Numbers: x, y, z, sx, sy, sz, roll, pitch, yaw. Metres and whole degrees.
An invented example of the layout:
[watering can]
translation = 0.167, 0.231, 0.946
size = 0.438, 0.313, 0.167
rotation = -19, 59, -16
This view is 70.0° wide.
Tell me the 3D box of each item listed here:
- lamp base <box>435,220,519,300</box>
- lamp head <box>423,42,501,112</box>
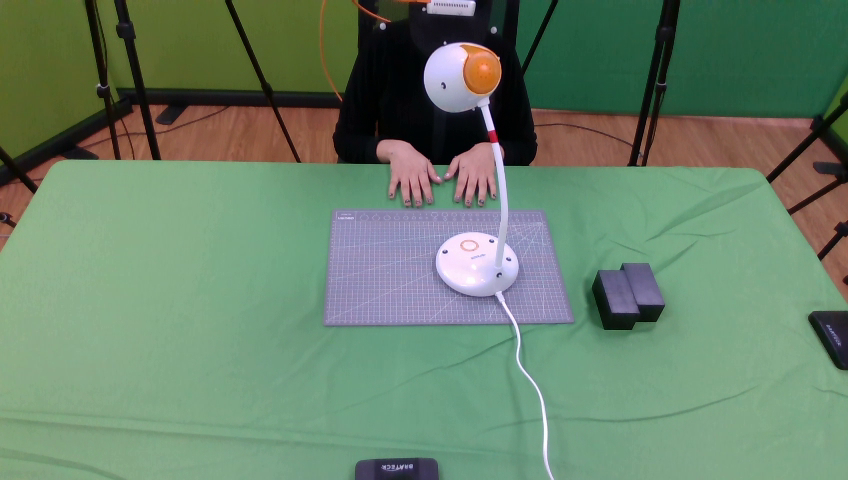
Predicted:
[lamp base]
translation = 0.112, -0.002, 1.096
size = 0.161, 0.181, 0.178
rotation = -22, 54, -23
[lamp head]
translation = 0.071, -0.258, 0.962
size = 0.112, 0.113, 0.122
rotation = -16, 19, -18
